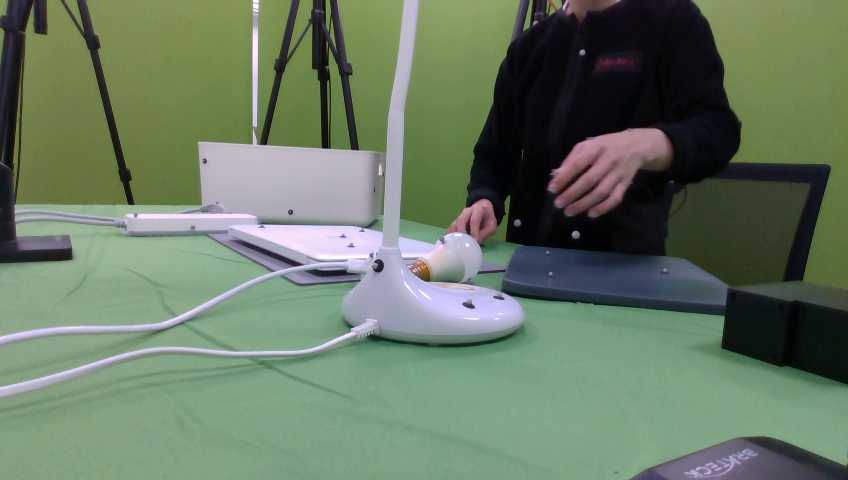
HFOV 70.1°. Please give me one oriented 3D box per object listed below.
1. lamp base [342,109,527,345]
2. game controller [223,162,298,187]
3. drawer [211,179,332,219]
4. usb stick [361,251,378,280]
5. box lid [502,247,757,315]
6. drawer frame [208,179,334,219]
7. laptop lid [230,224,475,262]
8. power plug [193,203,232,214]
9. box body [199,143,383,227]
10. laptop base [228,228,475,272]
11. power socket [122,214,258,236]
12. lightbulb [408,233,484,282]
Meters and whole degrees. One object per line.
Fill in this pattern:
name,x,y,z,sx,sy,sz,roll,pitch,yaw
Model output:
lamp base,0.006,-0.015,0.505,0.160,0.180,0.180,6,11,29
game controller,-0.357,-0.143,1.322,0.156,0.051,0.097,1,3,-17
drawer,-0.328,-0.096,1.333,0.212,0.073,0.194,5,7,6
usb stick,-0.051,0.033,0.656,0.027,0.021,0.059,4,-27,-21
box lid,0.244,0.044,0.793,0.263,0.015,0.372,4,7,11
drawer frame,-0.326,-0.093,1.328,0.213,0.082,0.202,-1,6,6
laptop lid,-0.119,0.000,0.889,0.243,0.013,0.355,1,7,-33
power plug,-0.393,-0.042,1.139,0.072,0.052,0.035,-14,2,31
box body,-0.276,-0.124,1.334,0.364,0.160,0.254,3,7,1
laptop base,-0.122,0.011,0.889,0.237,0.023,0.352,1,6,-35
power socket,-0.398,-0.028,1.049,0.228,0.032,0.072,-3,8,-34
lightbulb,0.021,0.028,0.693,0.108,0.059,0.059,-20,19,-31
